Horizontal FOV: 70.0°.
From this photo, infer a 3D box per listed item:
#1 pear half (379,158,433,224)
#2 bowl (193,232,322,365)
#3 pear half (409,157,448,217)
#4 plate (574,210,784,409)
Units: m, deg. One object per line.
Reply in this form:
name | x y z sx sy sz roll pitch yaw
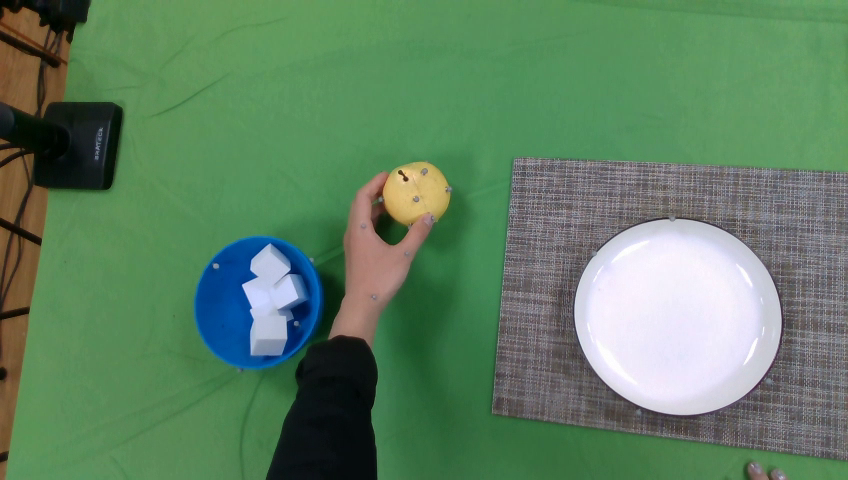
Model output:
pear half | -0.027 -0.057 0.687 0.056 0.111 0.075 -21 66 5
bowl | -0.183 0.070 0.715 0.151 0.077 0.151 -1 82 10
pear half | 0.009 -0.066 0.692 0.031 0.089 0.070 -22 68 7
plate | 0.266 0.073 0.648 0.207 0.039 0.207 -2 82 11
